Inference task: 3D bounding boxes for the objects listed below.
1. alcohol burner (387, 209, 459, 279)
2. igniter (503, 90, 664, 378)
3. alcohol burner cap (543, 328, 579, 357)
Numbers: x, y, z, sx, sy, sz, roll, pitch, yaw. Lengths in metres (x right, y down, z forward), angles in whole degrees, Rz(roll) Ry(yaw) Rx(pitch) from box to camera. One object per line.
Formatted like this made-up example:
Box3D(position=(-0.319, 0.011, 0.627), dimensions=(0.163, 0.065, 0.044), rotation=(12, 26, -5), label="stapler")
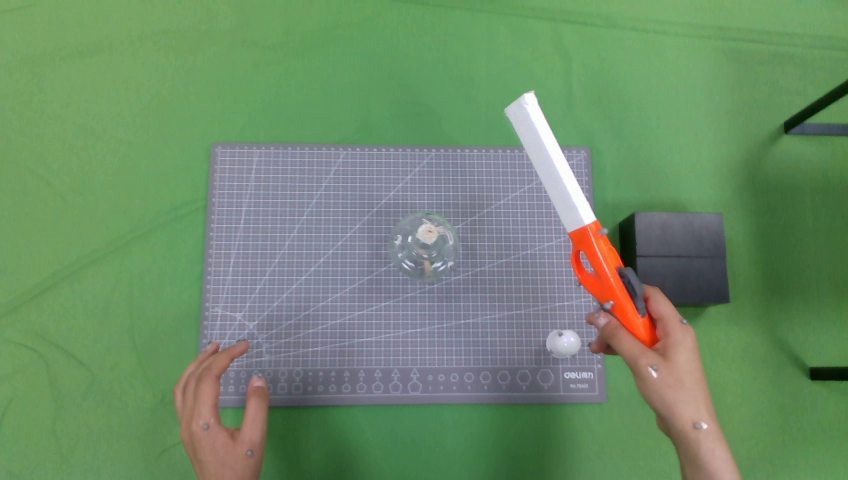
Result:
Box3D(position=(0.000, 0.001, 0.644), dimensions=(0.078, 0.119, 0.077), rotation=(1, 79, -4), label="alcohol burner")
Box3D(position=(0.144, -0.003, 0.542), dimensions=(0.025, 0.057, 0.276), rotation=(-26, 89, -34), label="igniter")
Box3D(position=(0.153, 0.112, 0.666), dimensions=(0.034, 0.048, 0.033), rotation=(1, 78, -3), label="alcohol burner cap")
